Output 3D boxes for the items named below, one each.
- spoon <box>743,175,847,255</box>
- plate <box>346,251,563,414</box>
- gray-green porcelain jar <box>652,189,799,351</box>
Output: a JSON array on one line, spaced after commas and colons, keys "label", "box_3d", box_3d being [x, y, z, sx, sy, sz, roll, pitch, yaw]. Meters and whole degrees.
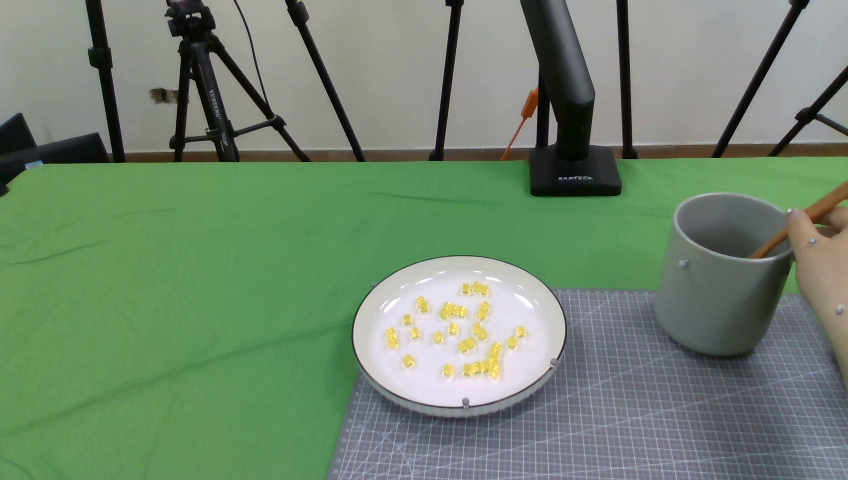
[{"label": "spoon", "box_3d": [0.308, 0.000, 0.532, 0.022, 0.194, 0.041, 19, 45, -12]}, {"label": "plate", "box_3d": [0.030, 0.089, 0.595, 0.207, 0.039, 0.205, -3, 37, 2]}, {"label": "gray-green porcelain jar", "box_3d": [0.276, 0.032, 0.569, 0.106, 0.127, 0.105, -3, 38, 3]}]
